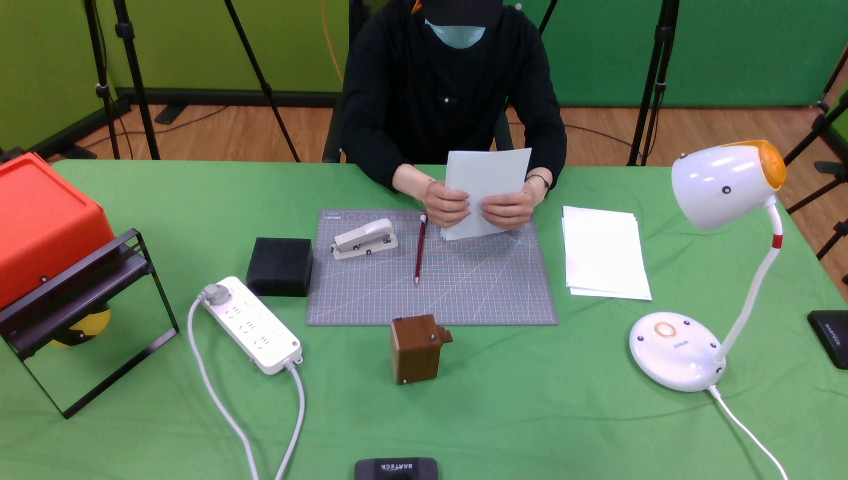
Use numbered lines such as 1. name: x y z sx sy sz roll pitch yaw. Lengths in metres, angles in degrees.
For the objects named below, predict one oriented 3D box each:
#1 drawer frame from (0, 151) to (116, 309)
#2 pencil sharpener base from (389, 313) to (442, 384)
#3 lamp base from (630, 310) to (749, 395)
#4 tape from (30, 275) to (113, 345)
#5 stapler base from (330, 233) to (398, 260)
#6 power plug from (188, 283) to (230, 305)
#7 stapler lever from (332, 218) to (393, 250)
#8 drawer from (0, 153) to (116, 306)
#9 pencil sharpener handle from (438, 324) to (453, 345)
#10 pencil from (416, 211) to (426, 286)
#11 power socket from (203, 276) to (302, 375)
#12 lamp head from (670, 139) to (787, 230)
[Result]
1. drawer frame: -0.604 -0.013 0.876 0.201 0.083 0.213 31 52 23
2. pencil sharpener base: -0.013 0.175 0.971 0.077 0.107 0.061 -8 47 -11
3. lamp base: 0.447 0.143 0.984 0.161 0.181 0.178 -24 55 -24
4. tape: -0.593 0.117 1.021 0.117 0.053 0.116 2 46 -2
5. stapler base: -0.116 0.004 1.181 0.131 0.024 0.041 -13 47 -14
6. power plug: -0.368 0.099 1.037 0.072 0.053 0.035 -24 52 -26
7. stapler lever: -0.116 -0.012 1.162 0.118 0.040 0.026 -13 47 -15
8. drawer: -0.601 -0.015 0.880 0.193 0.073 0.211 32 53 23
9. pencil sharpener handle: 0.036 0.155 0.976 0.031 0.068 0.036 -8 69 -11
10. pencil: -0.007 0.014 1.190 0.012 0.012 0.193 4 48 0
11. power socket: -0.297 0.141 1.034 0.072 0.033 0.225 -34 58 -30
12. lamp head: 0.415 -0.079 0.812 0.113 0.123 0.112 12 70 -37
